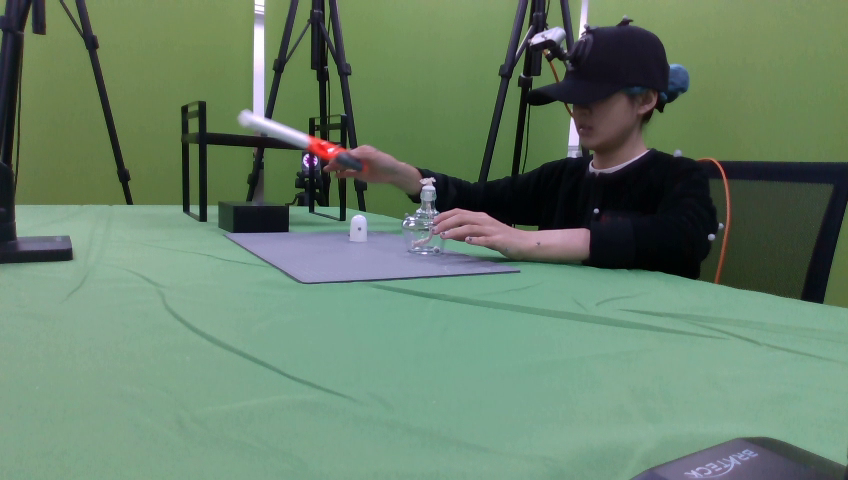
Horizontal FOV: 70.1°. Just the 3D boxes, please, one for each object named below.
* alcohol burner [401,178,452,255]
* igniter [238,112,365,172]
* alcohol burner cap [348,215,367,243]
[{"bbox_3d":[0.005,-0.036,0.923,0.078,0.119,0.078,5,7,0],"label":"alcohol burner"},{"bbox_3d":[-0.210,-0.173,1.099,0.278,0.025,0.057,16,29,-50],"label":"igniter"},{"bbox_3d":[-0.112,-0.019,1.025,0.034,0.048,0.034,2,6,0],"label":"alcohol burner cap"}]
